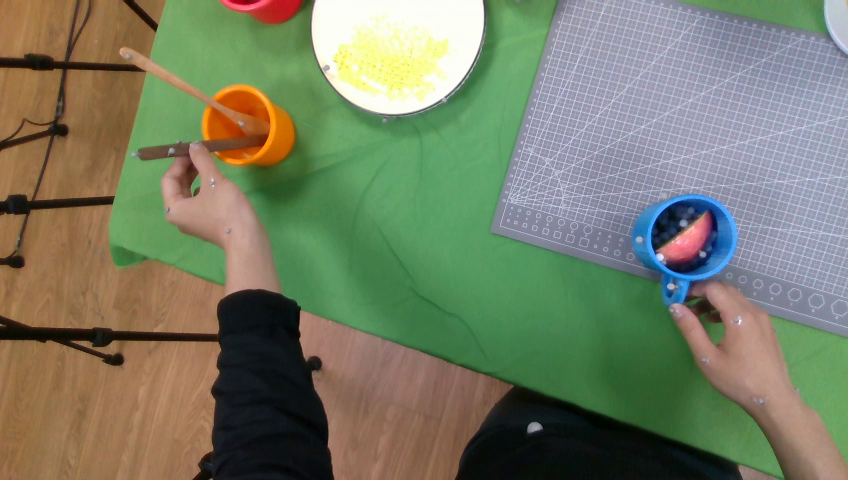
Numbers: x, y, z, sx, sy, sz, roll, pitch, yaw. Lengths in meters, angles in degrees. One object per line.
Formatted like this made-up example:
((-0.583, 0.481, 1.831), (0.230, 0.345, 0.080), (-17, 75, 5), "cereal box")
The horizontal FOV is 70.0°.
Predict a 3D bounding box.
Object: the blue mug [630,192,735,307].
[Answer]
((0.261, 0.011, 0.627), (0.082, 0.106, 0.116), (6, 93, 11), "blue mug")

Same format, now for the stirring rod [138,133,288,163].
((-0.233, -0.106, 0.688), (0.006, 0.177, 0.014), (-28, 82, 49), "stirring rod")

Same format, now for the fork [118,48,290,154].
((-0.248, -0.158, 0.699), (0.209, 0.018, 0.028), (29, 97, -35), "fork")

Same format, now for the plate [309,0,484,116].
((-0.032, -0.248, 0.711), (0.208, 0.038, 0.209), (0, 92, 11), "plate")

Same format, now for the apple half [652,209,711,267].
((0.267, 0.004, 0.619), (0.081, 0.081, 0.032), (-39, 77, 10), "apple half")

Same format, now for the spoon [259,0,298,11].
((-0.237, -0.321, 0.695), (0.195, 0.021, 0.041), (20, 96, -34), "spoon")

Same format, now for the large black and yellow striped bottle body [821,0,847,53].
((0.463, -0.246, 0.541), (0.130, 0.184, 0.130), (0, 89, 11), "large black and yellow striped bottle body")
